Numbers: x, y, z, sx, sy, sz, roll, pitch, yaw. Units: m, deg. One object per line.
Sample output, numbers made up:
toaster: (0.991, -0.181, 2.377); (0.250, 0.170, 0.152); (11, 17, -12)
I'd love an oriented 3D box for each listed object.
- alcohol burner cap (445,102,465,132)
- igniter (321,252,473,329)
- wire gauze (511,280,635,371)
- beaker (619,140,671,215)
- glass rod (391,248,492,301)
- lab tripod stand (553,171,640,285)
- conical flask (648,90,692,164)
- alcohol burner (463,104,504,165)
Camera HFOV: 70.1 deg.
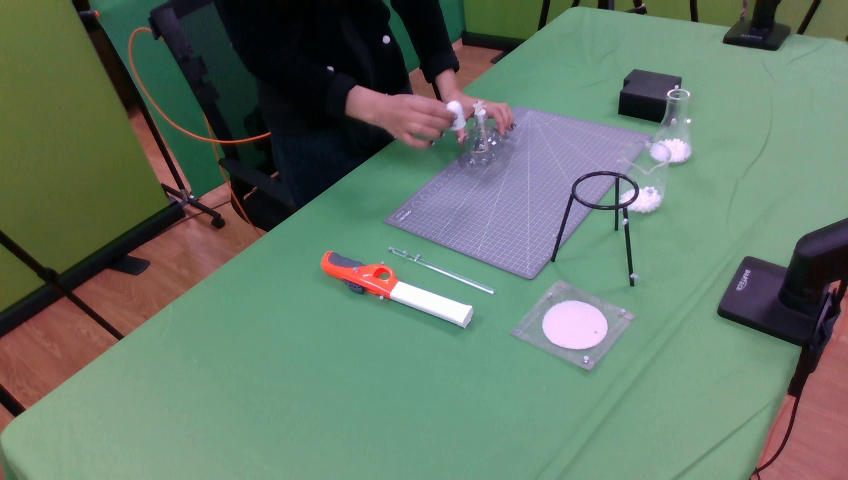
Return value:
alcohol burner cap: (0.051, -0.211, 1.027); (0.034, 0.048, 0.033); (-6, 45, 7)
igniter: (-0.051, 0.071, 0.906); (0.274, 0.025, 0.057); (19, 58, 29)
wire gauze: (0.203, 0.114, 0.822); (0.120, 0.011, 0.125); (25, 52, 35)
beaker: (0.352, -0.096, 0.971); (0.074, 0.101, 0.084); (1, 42, 13)
glass rod: (0.023, 0.050, 0.935); (0.198, 0.008, 0.008); (25, 52, 32)
lab tripod stand: (0.260, -0.025, 0.877); (0.148, 0.132, 0.147); (-6, 38, 5)
conical flask: (0.437, -0.199, 1.057); (0.075, 0.122, 0.075); (-5, 40, 5)
alcohol burner: (0.109, -0.201, 1.126); (0.078, 0.119, 0.077); (-6, 42, 6)
